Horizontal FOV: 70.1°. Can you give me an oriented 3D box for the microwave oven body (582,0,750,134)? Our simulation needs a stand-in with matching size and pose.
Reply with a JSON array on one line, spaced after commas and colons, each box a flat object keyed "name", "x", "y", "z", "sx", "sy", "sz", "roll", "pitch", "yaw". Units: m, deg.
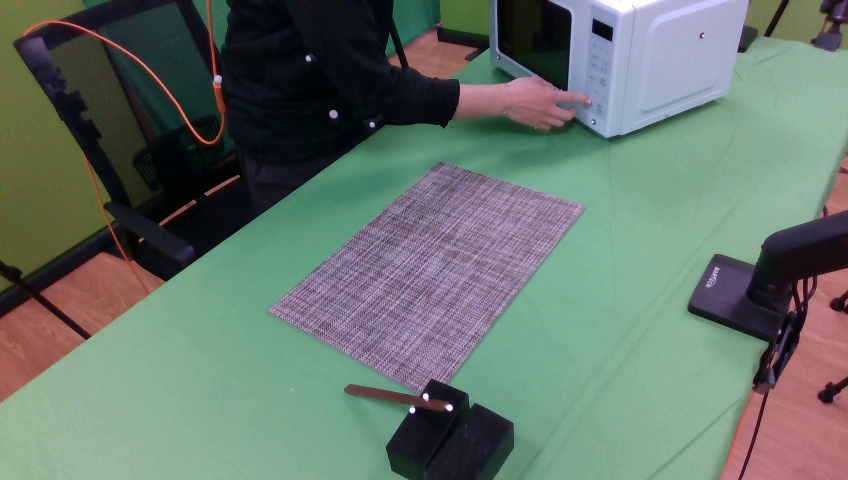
[{"name": "microwave oven body", "x": 0.382, "y": -0.445, "z": 1.246, "sx": 0.327, "sy": 0.261, "sz": 0.437, "roll": -22, "pitch": 42, "yaw": -16}]

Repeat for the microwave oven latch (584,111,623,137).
[{"name": "microwave oven latch", "x": 0.337, "y": -0.222, "z": 1.142, "sx": 0.030, "sy": 0.029, "sz": 0.078, "roll": -21, "pitch": 42, "yaw": -14}]

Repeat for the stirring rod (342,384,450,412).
[{"name": "stirring rod", "x": -0.038, "y": 0.185, "z": 0.714, "sx": 0.175, "sy": 0.006, "sz": 0.014, "roll": -3, "pitch": 22, "yaw": 43}]

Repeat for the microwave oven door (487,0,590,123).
[{"name": "microwave oven door", "x": 0.232, "y": -0.420, "z": 1.231, "sx": 0.039, "sy": 0.245, "sz": 0.352, "roll": -22, "pitch": 43, "yaw": -16}]
